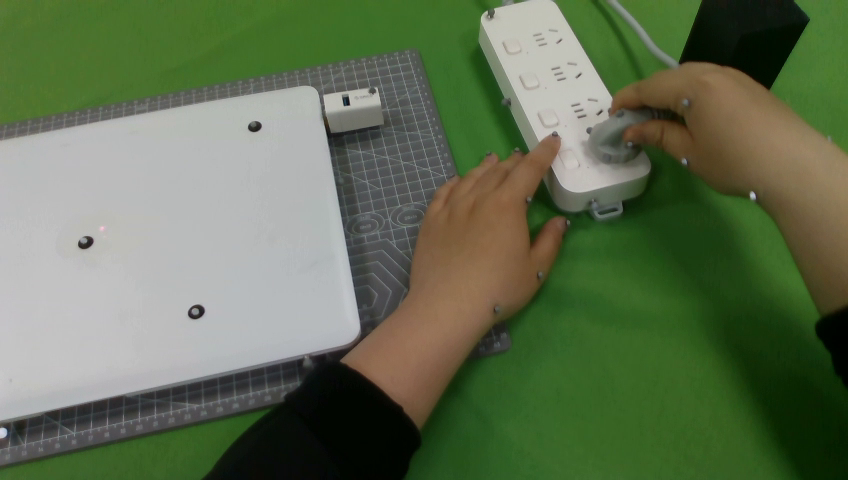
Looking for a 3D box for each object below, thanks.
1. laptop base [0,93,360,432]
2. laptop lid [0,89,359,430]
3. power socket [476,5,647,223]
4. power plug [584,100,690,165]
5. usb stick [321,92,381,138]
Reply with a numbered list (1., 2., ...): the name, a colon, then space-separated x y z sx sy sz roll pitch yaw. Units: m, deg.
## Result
1. laptop base: -0.236 0.012 0.438 0.355 0.023 0.233 -12 62 -5
2. laptop lid: -0.236 0.008 0.427 0.357 0.013 0.239 -11 60 -4
3. power socket: 0.105 -0.113 0.493 0.072 0.033 0.224 -13 58 -7
4. power plug: 0.154 -0.071 0.439 0.072 0.053 0.035 -2 57 -1
5. usb stick: -0.065 -0.099 0.486 0.059 0.027 0.021 -12 57 -2
